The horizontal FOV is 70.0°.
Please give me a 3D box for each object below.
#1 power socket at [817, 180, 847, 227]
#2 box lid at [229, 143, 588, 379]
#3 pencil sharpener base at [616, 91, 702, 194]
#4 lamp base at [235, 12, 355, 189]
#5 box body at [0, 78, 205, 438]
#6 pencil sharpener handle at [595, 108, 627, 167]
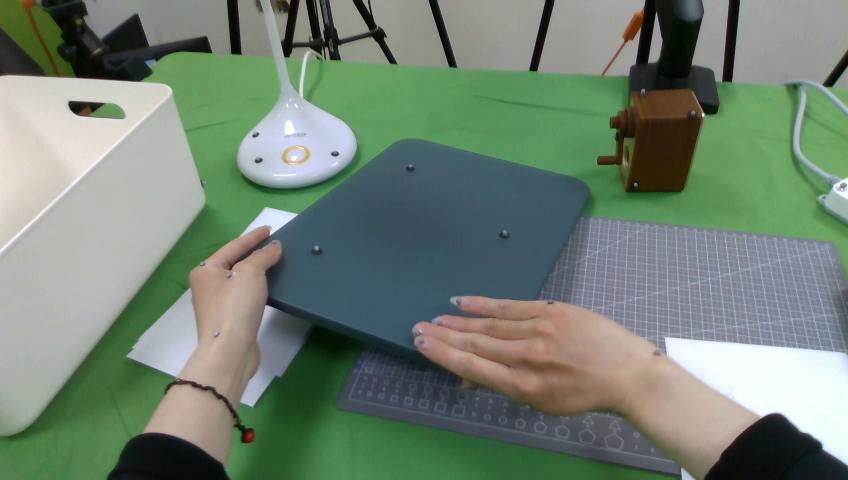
[{"bbox_3d":[0.518,0.001,0.611,0.072,0.033,0.224,-21,44,-18],"label":"power socket"},{"bbox_3d":[0.008,-0.009,0.634,0.262,0.015,0.370,17,35,19],"label":"box lid"},{"bbox_3d":[0.266,-0.111,0.705,0.076,0.108,0.061,-1,43,6],"label":"pencil sharpener base"},{"bbox_3d":[-0.183,-0.184,0.775,0.161,0.182,0.177,-14,40,-10],"label":"lamp base"},{"bbox_3d":[-0.425,-0.004,0.614,0.253,0.162,0.361,7,43,12],"label":"box body"},{"bbox_3d":[0.214,-0.117,0.697,0.030,0.068,0.036,-1,21,6],"label":"pencil sharpener handle"}]
